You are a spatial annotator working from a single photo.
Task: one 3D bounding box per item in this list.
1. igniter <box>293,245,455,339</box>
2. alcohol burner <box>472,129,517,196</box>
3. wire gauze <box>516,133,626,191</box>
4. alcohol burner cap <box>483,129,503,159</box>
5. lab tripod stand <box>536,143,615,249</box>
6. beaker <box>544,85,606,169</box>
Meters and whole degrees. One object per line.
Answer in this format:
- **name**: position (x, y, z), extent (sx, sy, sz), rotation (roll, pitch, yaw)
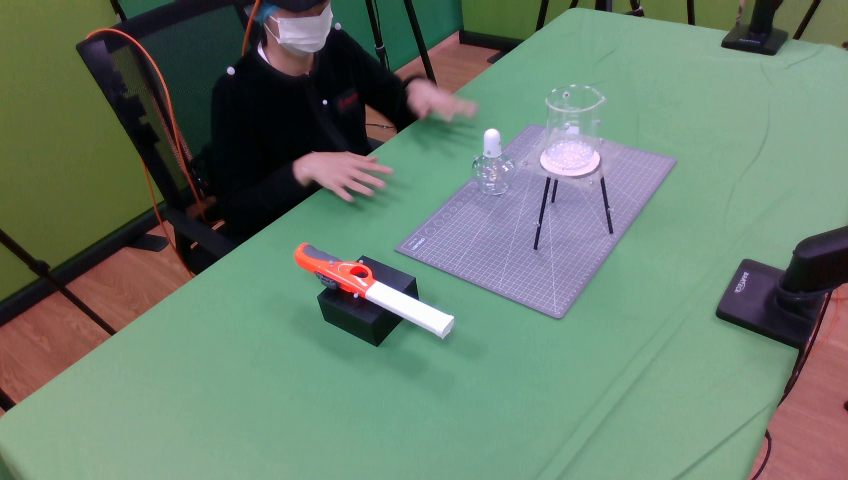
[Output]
- **igniter**: position (-0.079, 0.066, 0.833), extent (0.274, 0.025, 0.057), rotation (23, 48, 27)
- **alcohol burner**: position (0.120, -0.136, 1.044), extent (0.078, 0.119, 0.077), rotation (-6, 39, 6)
- **wire gauze**: position (0.217, -0.122, 0.893), extent (0.124, 0.011, 0.122), rotation (20, 47, 32)
- **alcohol burner cap**: position (0.115, -0.163, 1.021), extent (0.034, 0.048, 0.033), rotation (-5, 35, 4)
- **lab tripod stand**: position (0.224, -0.069, 0.931), extent (0.148, 0.132, 0.147), rotation (-4, 42, 4)
- **beaker**: position (0.212, -0.158, 0.861), extent (0.084, 0.101, 0.073), rotation (-3, 41, 6)
